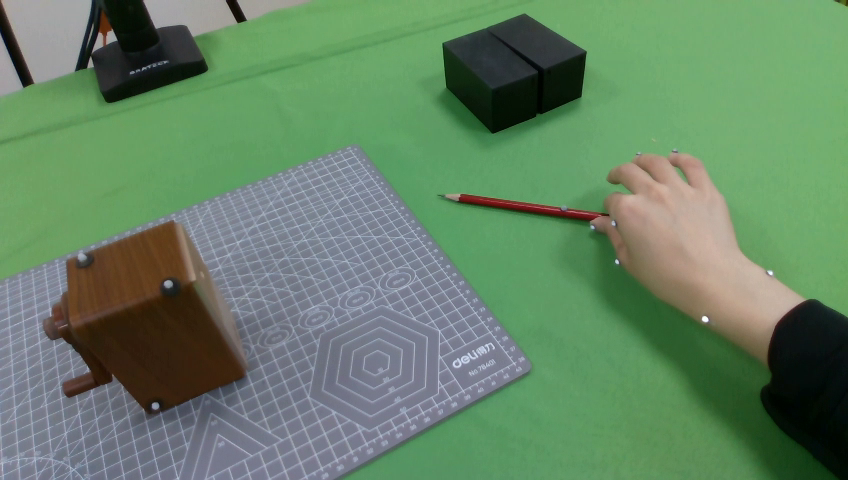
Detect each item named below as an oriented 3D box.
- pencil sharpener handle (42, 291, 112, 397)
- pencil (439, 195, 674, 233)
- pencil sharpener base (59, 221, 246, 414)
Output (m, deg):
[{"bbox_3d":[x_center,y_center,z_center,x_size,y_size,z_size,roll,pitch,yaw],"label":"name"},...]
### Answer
[{"bbox_3d":[-0.216,0.066,0.366,0.031,0.068,0.035,-22,32,-13],"label":"pencil sharpener handle"},{"bbox_3d":[0.105,-0.024,0.505,0.193,0.012,0.012,9,48,17],"label":"pencil"},{"bbox_3d":[-0.171,0.053,0.391,0.077,0.108,0.060,-22,48,-13],"label":"pencil sharpener base"}]
